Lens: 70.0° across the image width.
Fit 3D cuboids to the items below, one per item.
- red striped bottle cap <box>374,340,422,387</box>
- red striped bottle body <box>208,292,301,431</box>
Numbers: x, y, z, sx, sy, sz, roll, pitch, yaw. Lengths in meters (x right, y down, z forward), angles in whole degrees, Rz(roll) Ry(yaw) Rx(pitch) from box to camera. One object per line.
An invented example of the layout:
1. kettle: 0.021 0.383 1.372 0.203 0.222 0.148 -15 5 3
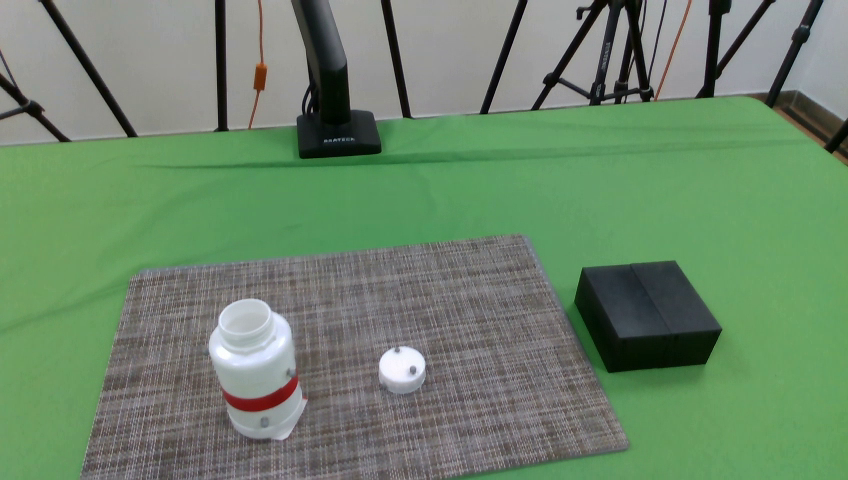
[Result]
1. red striped bottle cap: -0.024 0.115 0.566 0.044 0.018 0.044 6 37 -4
2. red striped bottle body: -0.139 0.098 0.499 0.063 0.121 0.062 1 40 -1
